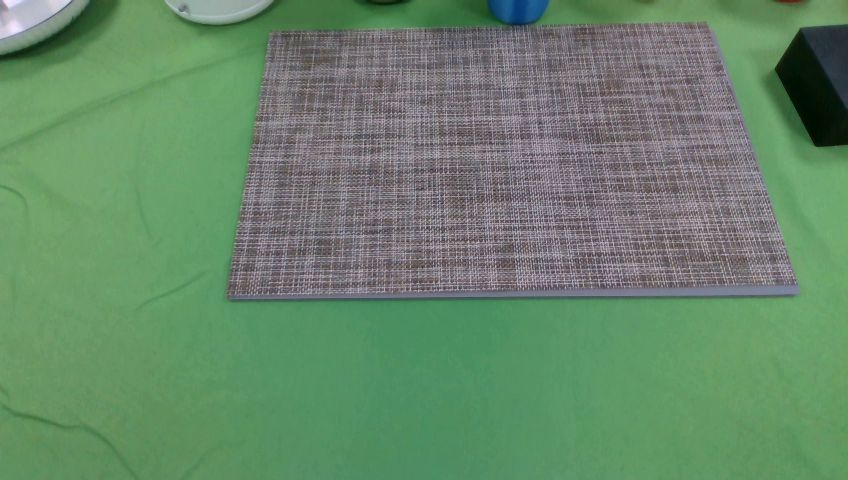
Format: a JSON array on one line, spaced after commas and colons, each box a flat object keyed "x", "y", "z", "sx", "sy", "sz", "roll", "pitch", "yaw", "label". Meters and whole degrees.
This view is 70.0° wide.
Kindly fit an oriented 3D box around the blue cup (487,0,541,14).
[{"x": 0.092, "y": -0.282, "z": 0.596, "sx": 0.092, "sy": 0.101, "sz": 0.092, "roll": -1, "pitch": 60, "yaw": 3, "label": "blue cup"}]

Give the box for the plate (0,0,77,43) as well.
[{"x": -0.448, "y": -0.274, "z": 0.634, "sx": 0.208, "sy": 0.039, "sz": 0.206, "roll": 0, "pitch": 61, "yaw": 1, "label": "plate"}]

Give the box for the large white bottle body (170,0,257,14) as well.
[{"x": -0.222, "y": -0.331, "z": 0.578, "sx": 0.130, "sy": 0.186, "sz": 0.129, "roll": 0, "pitch": 61, "yaw": 1, "label": "large white bottle body"}]
